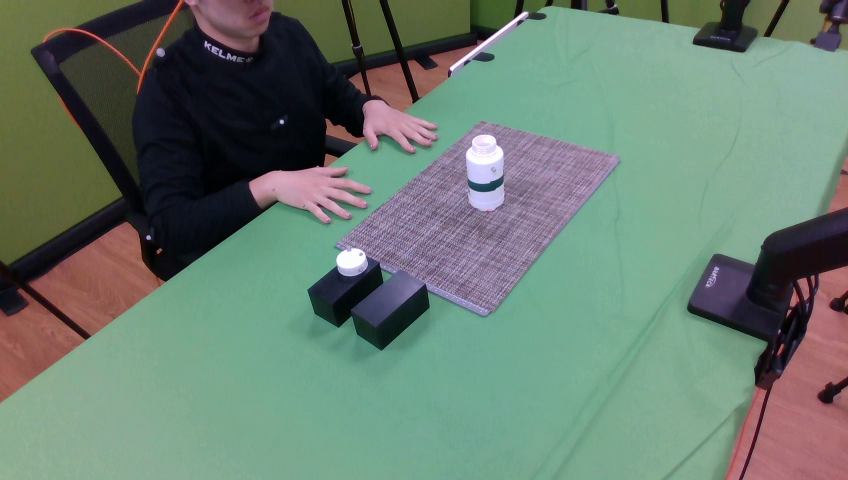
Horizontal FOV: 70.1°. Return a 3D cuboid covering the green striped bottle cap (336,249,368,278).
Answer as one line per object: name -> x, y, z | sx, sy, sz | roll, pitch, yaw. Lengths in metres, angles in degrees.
green striped bottle cap -> -0.105, 0.033, 0.873 | 0.044, 0.020, 0.044 | -6, 42, 6

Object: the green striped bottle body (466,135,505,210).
green striped bottle body -> 0.102, -0.114, 1.006 | 0.063, 0.120, 0.063 | -4, 41, 4
